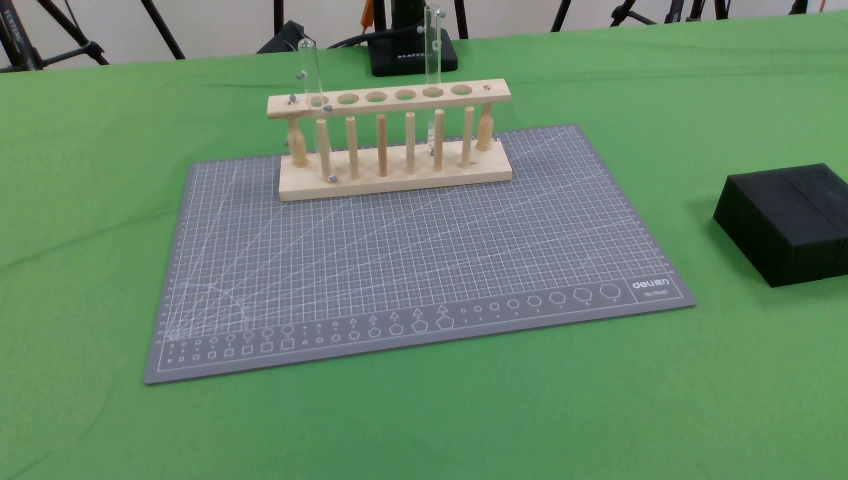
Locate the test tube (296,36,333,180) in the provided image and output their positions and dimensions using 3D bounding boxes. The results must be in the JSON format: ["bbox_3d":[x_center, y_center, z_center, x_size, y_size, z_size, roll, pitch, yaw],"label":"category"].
[{"bbox_3d":[-0.103,-0.121,0.578,0.017,0.152,0.017,-1,42,1],"label":"test tube"}]

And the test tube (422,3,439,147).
[{"bbox_3d":[0.007,-0.162,0.613,0.017,0.151,0.017,-1,38,1],"label":"test tube"}]

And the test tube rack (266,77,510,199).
[{"bbox_3d":[-0.034,-0.106,0.627,0.243,0.086,0.066,-6,43,-5],"label":"test tube rack"}]
